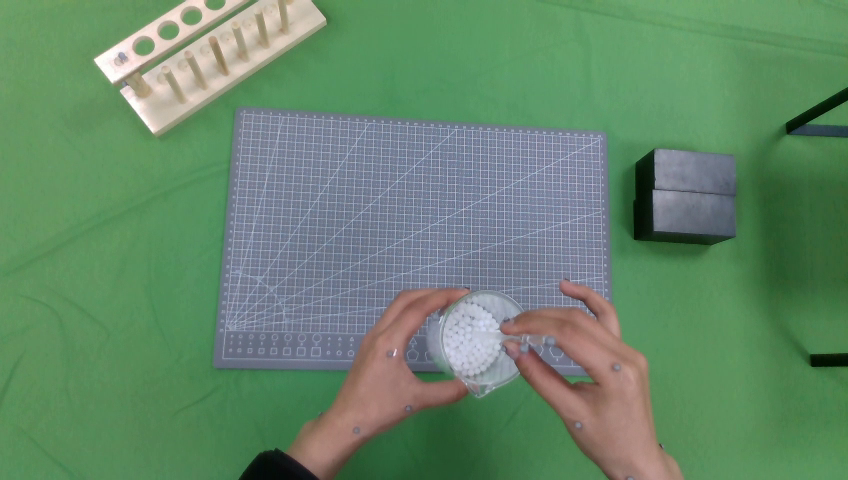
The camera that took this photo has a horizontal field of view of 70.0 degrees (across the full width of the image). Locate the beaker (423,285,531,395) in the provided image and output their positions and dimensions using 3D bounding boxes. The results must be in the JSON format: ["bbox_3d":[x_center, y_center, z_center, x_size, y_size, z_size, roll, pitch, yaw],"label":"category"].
[{"bbox_3d":[0.039,0.084,0.507,0.074,0.100,0.083,9,80,-6],"label":"beaker"}]

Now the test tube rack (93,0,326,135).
[{"bbox_3d":[-0.228,-0.226,0.678,0.242,0.085,0.066,-38,85,-12],"label":"test tube rack"}]

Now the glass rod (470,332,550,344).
[{"bbox_3d":[0.057,0.072,0.449,0.008,0.200,0.008,1,82,-8],"label":"glass rod"}]
